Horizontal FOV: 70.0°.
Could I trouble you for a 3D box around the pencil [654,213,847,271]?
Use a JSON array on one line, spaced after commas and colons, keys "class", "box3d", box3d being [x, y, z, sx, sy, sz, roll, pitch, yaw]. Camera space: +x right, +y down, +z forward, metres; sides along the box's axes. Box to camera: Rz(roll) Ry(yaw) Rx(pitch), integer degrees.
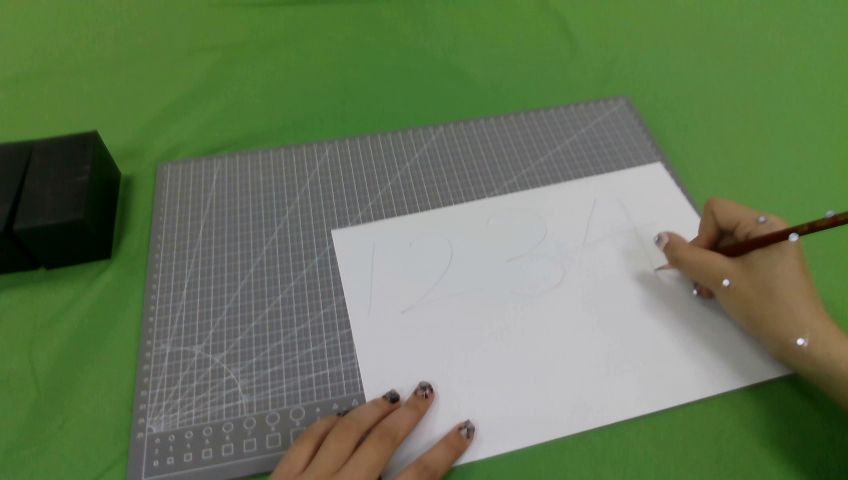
[{"class": "pencil", "box3d": [0.227, -0.001, 0.390, 0.012, 0.194, 0.012, 9, 71, -28]}]
